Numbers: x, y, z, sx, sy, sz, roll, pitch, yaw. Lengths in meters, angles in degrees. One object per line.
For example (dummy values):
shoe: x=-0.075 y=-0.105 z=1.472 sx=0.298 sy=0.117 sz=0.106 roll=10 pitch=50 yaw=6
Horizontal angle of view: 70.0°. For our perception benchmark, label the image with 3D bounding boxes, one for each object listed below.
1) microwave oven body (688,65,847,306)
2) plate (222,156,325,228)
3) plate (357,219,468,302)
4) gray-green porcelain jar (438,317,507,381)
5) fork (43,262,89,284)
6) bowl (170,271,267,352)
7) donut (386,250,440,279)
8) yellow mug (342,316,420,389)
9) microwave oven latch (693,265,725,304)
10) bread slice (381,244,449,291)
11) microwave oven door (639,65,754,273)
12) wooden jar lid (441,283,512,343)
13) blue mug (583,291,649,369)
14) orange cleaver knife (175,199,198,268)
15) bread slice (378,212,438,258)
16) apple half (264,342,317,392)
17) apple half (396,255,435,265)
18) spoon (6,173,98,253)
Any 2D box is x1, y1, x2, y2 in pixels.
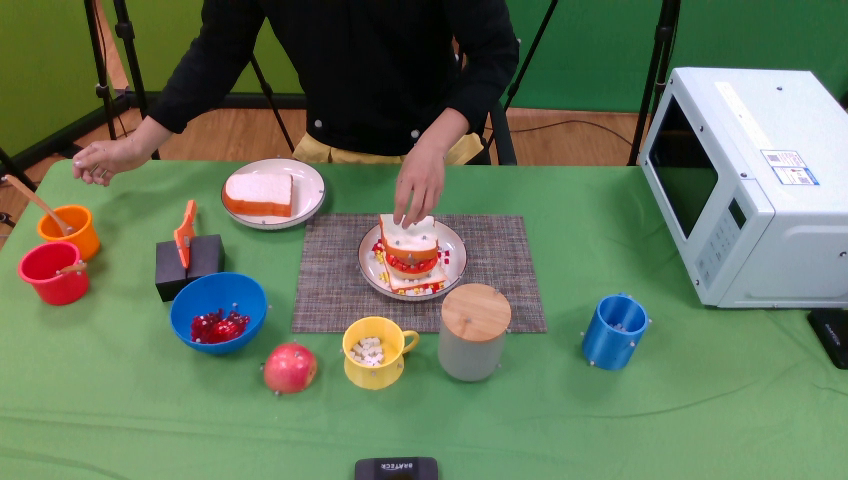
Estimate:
microwave oven body: x=0.669 y=-0.111 z=1.176 sx=0.326 sy=0.261 sz=0.439 roll=0 pitch=46 yaw=-3
plate: x=-0.308 y=-0.095 z=1.251 sx=0.209 sy=0.038 sz=0.208 roll=3 pitch=46 yaw=-3
plate: x=-0.021 y=0.037 z=1.141 sx=0.208 sy=0.039 sz=0.206 roll=2 pitch=46 yaw=-2
gray-green porcelain jar: x=0.076 y=0.158 z=0.977 sx=0.106 sy=0.127 sz=0.105 roll=2 pitch=47 yaw=-2
fork: x=-0.599 y=0.053 z=1.013 sx=0.207 sy=0.019 sz=0.028 roll=-14 pitch=31 yaw=45
bowl: x=-0.333 y=0.132 z=1.006 sx=0.151 sy=0.077 sz=0.150 roll=2 pitch=46 yaw=-2
donut: x=-0.021 y=0.029 z=1.110 sx=0.099 sy=0.048 sz=0.098 roll=2 pitch=46 yaw=-2
yellow mug: x=-0.067 y=0.177 z=0.990 sx=0.131 sy=0.064 sz=0.099 roll=-16 pitch=50 yaw=-19
microwave oven latch: x=0.522 y=0.081 z=1.115 sx=0.030 sy=0.029 sz=0.078 roll=2 pitch=46 yaw=-1
bread slice: x=-0.026 y=0.039 z=1.139 sx=0.107 sy=0.018 sz=0.133 roll=-12 pitch=47 yaw=-16
microwave oven door: x=0.522 y=-0.147 z=1.192 sx=0.039 sy=0.245 sz=0.353 roll=0 pitch=47 yaw=-3
wooden jar lid: x=0.080 y=0.114 z=0.931 sx=0.108 sy=0.021 sz=0.107 roll=1 pitch=49 yaw=-1
blue mug: x=0.324 y=0.142 z=1.023 sx=0.082 sy=0.106 sz=0.116 roll=15 pitch=47 yaw=11
orange cleaver knife: x=-0.438 y=-0.017 z=1.138 sx=0.012 sy=0.077 sz=0.210 roll=-14 pitch=27 yaw=-7
bread slice: x=-0.025 y=-0.011 z=1.064 sx=0.105 sy=0.019 sz=0.130 roll=2 pitch=33 yaw=-9
apple half: x=-0.214 y=0.198 z=0.970 sx=0.074 sy=0.053 sz=0.080 roll=19 pitch=48 yaw=11
apple half: x=-0.017 y=0.005 z=1.084 sx=0.081 sy=0.033 sz=0.081 roll=5 pitch=49 yaw=-6
spoon: x=-0.678 y=-0.050 z=1.106 sx=0.021 sy=0.194 sz=0.041 roll=-20 pitch=27 yaw=43
